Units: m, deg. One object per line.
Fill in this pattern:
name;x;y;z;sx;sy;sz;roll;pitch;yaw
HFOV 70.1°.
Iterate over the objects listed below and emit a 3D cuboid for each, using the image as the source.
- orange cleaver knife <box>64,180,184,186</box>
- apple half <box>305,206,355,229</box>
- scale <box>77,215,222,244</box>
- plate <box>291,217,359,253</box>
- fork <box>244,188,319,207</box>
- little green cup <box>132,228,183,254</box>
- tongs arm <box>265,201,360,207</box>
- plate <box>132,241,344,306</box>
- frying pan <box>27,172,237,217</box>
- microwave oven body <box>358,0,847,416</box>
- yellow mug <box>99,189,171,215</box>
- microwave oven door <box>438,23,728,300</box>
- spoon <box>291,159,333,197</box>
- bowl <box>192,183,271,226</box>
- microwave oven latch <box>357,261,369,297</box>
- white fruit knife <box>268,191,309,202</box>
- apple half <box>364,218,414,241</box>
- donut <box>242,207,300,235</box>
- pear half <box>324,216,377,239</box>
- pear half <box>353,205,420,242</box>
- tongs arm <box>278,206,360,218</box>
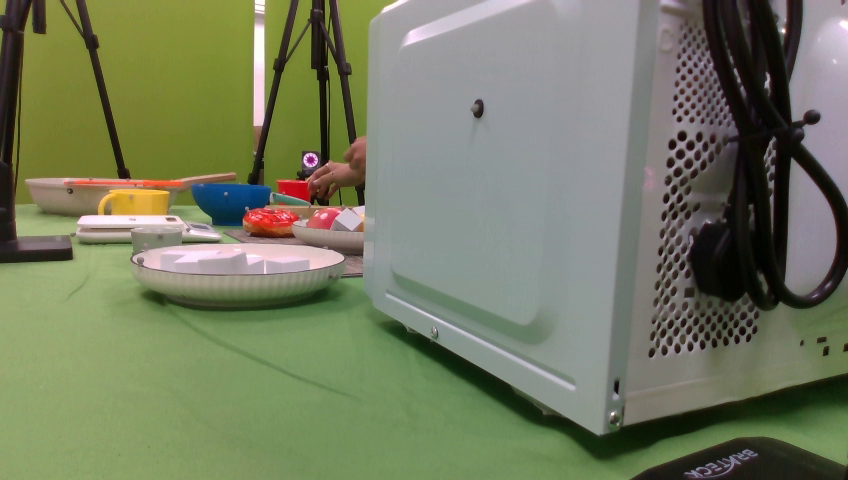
orange cleaver knife;-0.595;-0.114;1.212;0.212;0.012;0.077;-4;6;-41
apple half;-0.138;-0.025;0.917;0.081;0.053;0.074;0;10;-43
scale;-0.434;-0.019;0.963;0.202;0.031;0.148;-1;9;-27
plate;-0.103;-0.009;0.945;0.209;0.038;0.209;2;7;0
fork;-0.356;-0.105;1.526;0.208;0.018;0.028;16;-5;-41
little green cup;-0.342;0.006;0.779;0.061;0.038;0.061;2;8;0
tongs arm;-0.218;-0.078;1.469;0.389;0.028;0.028;0;2;-26
plate;-0.187;0.033;0.625;0.208;0.039;0.207;2;7;0
frying pan;-0.624;-0.118;1.387;0.305;0.102;0.490;8;17;32
microwave oven body;0.211;-0.047;0.474;0.444;0.260;0.324;-1;7;-28
yellow mug;-0.518;-0.055;1.080;0.099;0.064;0.131;7;9;26
microwave oven door;0.181;-0.073;0.621;0.358;0.243;0.039;-2;8;-29
spoon;-0.317;-0.159;1.640;0.194;0.022;0.041;-49;32;-20
bowl;-0.382;-0.070;1.202;0.151;0.077;0.151;3;7;0
microwave oven latch;-0.019;0.033;0.530;0.079;0.029;0.030;-1;7;-26
white fruit knife;-0.364;-0.105;1.464;0.208;0.027;0.016;15;-1;-34
apple half;-0.054;-0.019;0.967;0.081;0.033;0.081;-4;10;1
donut;-0.263;-0.032;1.039;0.099;0.048;0.099;4;10;0
pear half;-0.119;-0.023;0.996;0.088;0.031;0.070;-4;23;-28
pear half;-0.051;-0.024;0.905;0.110;0.056;0.076;2;-1;-38
tongs arm;-0.171;-0.067;1.402;0.387;0.026;0.050;-2;7;-39
